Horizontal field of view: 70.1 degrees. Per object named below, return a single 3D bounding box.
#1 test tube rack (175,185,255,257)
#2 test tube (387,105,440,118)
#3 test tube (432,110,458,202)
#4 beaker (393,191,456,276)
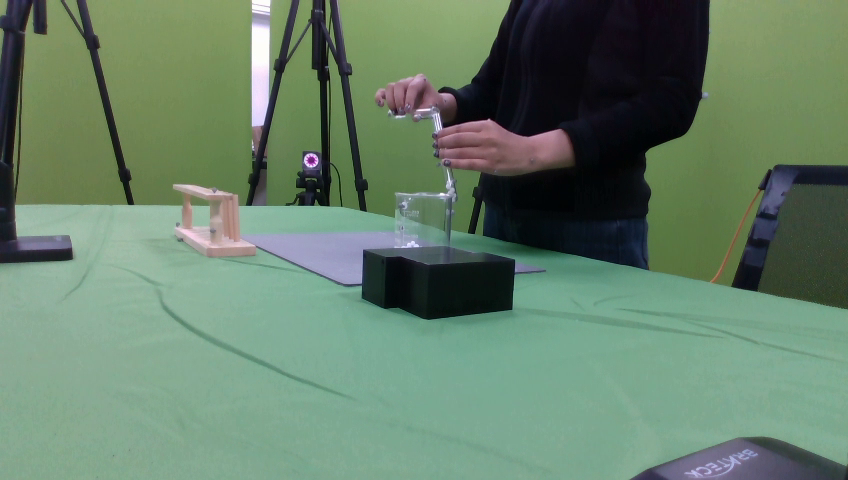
[{"bbox_3d":[-0.324,-0.035,0.922,0.067,0.085,0.241,-2,9,-31],"label":"test tube rack"},{"bbox_3d":[-0.020,-0.209,0.989,0.017,0.017,0.149,-2,9,-32],"label":"test tube"},{"bbox_3d":[0.031,-0.127,0.907,0.017,0.150,0.017,-9,-17,-2],"label":"test tube"},{"bbox_3d":[-0.003,-0.010,0.749,0.074,0.100,0.083,-3,8,-40],"label":"beaker"}]
